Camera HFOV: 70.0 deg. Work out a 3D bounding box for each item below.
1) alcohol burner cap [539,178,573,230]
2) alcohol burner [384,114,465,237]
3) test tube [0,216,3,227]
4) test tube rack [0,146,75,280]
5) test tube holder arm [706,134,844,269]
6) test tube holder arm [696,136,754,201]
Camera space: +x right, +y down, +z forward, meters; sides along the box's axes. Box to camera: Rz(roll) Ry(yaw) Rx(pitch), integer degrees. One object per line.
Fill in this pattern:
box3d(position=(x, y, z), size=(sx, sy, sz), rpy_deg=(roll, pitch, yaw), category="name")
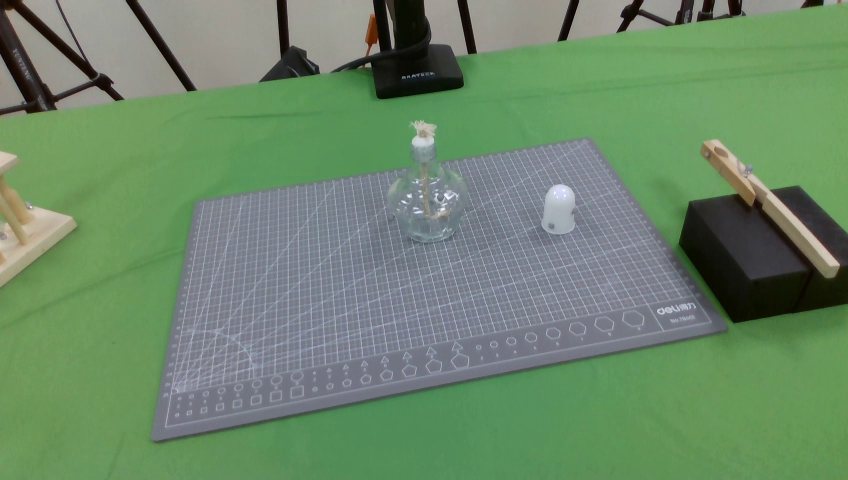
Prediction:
box3d(position=(0.127, -0.036, 0.576), size=(0.034, 0.048, 0.033), rpy_deg=(-3, 42, 3), category="alcohol burner cap")
box3d(position=(-0.001, -0.062, 0.565), size=(0.078, 0.120, 0.077), rpy_deg=(-4, 40, 4), category="alcohol burner")
box3d(position=(-0.445, -0.072, 0.573), size=(0.017, 0.151, 0.017), rpy_deg=(-6, 37, 5), category="test tube")
box3d(position=(-0.453, 0.018, 0.551), size=(0.066, 0.086, 0.241), rpy_deg=(14, 46, 20), category="test tube rack")
box3d(position=(0.289, -0.039, 0.513), size=(0.013, 0.015, 0.176), rpy_deg=(-20, 43, 0), category="test tube holder arm")
box3d(position=(0.273, -0.066, 0.546), size=(0.010, 0.015, 0.087), rpy_deg=(-19, 43, 1), category="test tube holder arm")
